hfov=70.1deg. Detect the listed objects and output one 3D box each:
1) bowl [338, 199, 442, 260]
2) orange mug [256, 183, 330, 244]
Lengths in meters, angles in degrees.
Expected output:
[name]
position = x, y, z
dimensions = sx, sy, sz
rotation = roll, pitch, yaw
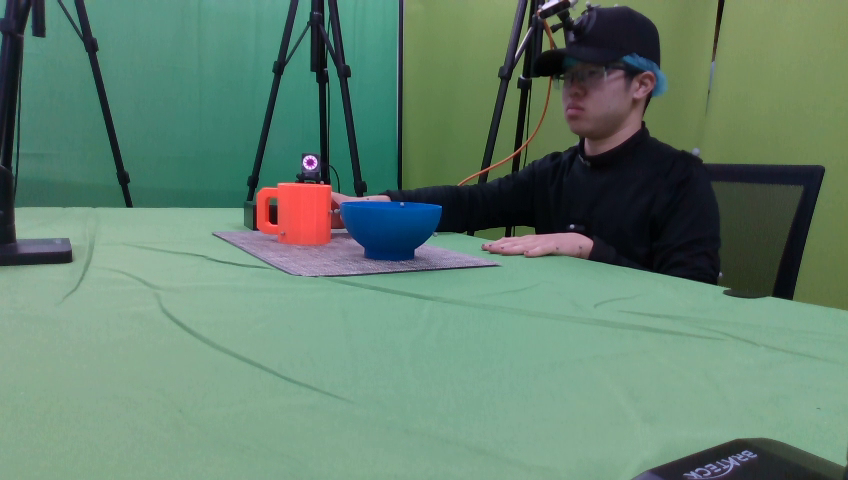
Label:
[bowl]
position = -0.050, -0.015, 0.878
dimensions = 0.151, 0.077, 0.151
rotation = 2, 8, 0
[orange mug]
position = -0.216, -0.047, 0.999
dimensions = 0.126, 0.100, 0.083
rotation = 7, 8, 8
